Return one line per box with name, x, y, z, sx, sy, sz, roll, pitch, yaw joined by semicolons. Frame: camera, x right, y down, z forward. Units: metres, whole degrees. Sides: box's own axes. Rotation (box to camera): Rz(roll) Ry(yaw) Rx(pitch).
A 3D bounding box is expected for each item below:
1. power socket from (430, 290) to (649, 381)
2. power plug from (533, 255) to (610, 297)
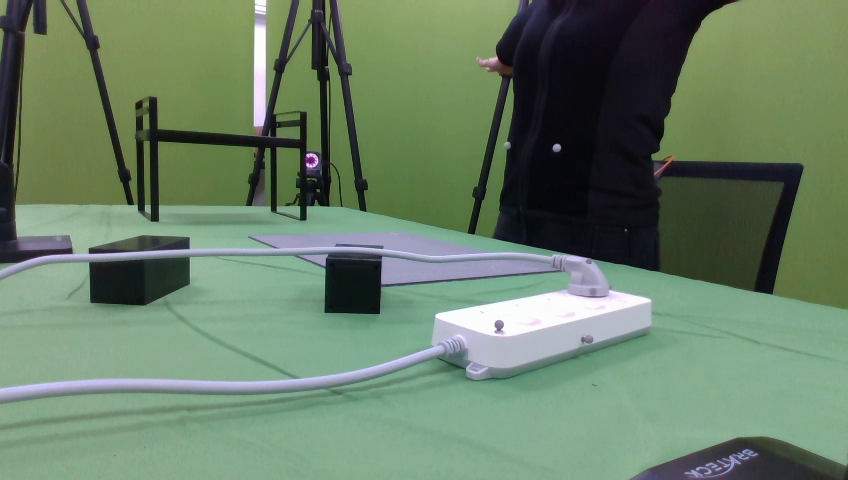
power socket;0.100;0.067;0.480;0.228;0.032;0.072;-5;10;-42
power plug;0.135;0.041;0.549;0.035;0.052;0.072;-2;6;-32
